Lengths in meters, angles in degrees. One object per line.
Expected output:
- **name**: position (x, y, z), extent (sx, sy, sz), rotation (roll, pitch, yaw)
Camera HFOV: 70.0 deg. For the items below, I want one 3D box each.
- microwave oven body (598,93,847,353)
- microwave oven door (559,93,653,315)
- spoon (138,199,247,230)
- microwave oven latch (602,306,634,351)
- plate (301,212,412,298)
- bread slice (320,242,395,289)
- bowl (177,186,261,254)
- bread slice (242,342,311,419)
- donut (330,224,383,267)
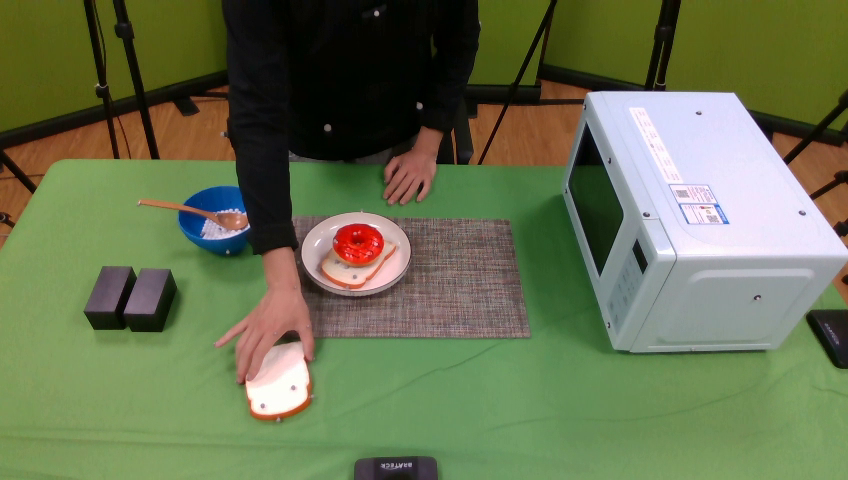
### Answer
- **microwave oven body**: position (0.475, -0.041, 1.109), extent (0.326, 0.261, 0.438), rotation (-1, 45, -4)
- **microwave oven door**: position (0.327, -0.074, 1.123), extent (0.039, 0.245, 0.353), rotation (0, 46, -5)
- **spoon**: position (-0.431, -0.053, 1.136), extent (0.194, 0.022, 0.041), rotation (15, 49, -21)
- **microwave oven latch**: position (0.332, 0.153, 1.044), extent (0.030, 0.029, 0.078), rotation (-1, 45, -4)
- **plate**: position (-0.126, 0.031, 1.145), extent (0.208, 0.039, 0.206), rotation (3, 46, -3)
- **bread slice**: position (-0.129, 0.038, 1.142), extent (0.107, 0.018, 0.134), rotation (20, 45, 14)
- **bowl**: position (-0.383, -0.026, 1.158), extent (0.151, 0.077, 0.150), rotation (2, 46, -2)
- **bread slice**: position (-0.233, 0.223, 0.970), extent (0.105, 0.019, 0.130), rotation (-10, 46, -12)
- **donut**: position (-0.125, 0.010, 1.127), extent (0.099, 0.048, 0.098), rotation (3, 45, -3)
